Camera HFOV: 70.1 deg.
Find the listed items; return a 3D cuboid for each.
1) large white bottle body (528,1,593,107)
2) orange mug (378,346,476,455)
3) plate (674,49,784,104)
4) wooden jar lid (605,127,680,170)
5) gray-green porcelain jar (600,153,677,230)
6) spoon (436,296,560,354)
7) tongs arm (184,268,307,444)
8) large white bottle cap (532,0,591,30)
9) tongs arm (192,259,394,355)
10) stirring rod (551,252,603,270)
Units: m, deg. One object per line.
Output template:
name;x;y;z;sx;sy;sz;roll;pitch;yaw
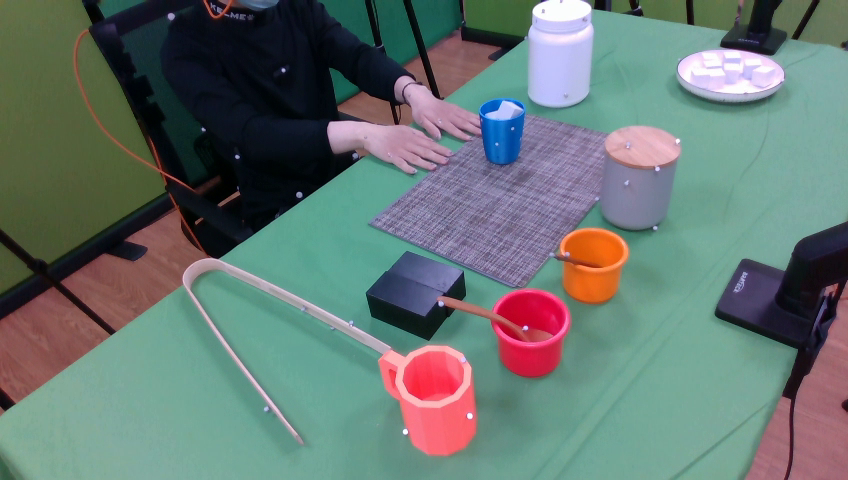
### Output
large white bottle body;0.282;-0.386;1.259;0.130;0.185;0.130;-5;41;4
orange mug;0.002;0.179;0.709;0.125;0.101;0.083;25;50;27
plate;0.631;-0.336;1.262;0.207;0.039;0.206;-4;41;4
wooden jar lid;0.327;-0.134;0.909;0.108;0.021;0.108;-2;43;2
gray-green porcelain jar;0.334;-0.087;0.949;0.106;0.127;0.105;-4;40;4
spoon;0.095;0.102;0.750;0.195;0.021;0.041;28;31;-28
tongs arm;-0.260;0.148;0.843;0.028;0.028;0.384;-38;48;-18
large white bottle cap;0.274;-0.450;1.204;0.115;0.018;0.114;-4;41;4
tongs arm;-0.204;0.100;0.881;0.382;0.027;0.051;23;55;32
stirring rod;0.211;0.029;0.823;0.014;0.006;0.177;32;11;33
